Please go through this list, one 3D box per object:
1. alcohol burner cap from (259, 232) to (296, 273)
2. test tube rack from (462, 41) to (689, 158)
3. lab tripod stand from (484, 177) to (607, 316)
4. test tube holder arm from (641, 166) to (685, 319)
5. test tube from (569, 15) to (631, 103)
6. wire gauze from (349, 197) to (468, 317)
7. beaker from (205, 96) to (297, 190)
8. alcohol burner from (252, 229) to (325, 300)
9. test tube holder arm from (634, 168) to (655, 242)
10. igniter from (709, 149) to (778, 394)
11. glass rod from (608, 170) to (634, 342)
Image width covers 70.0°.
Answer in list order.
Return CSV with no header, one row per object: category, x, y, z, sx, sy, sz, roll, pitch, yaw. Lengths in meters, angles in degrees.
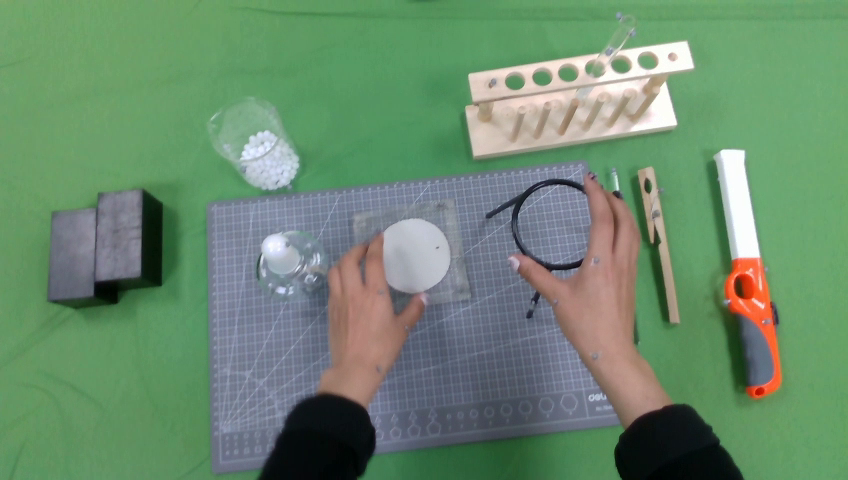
alcohol burner cap,-0.147,0.010,0.600,0.034,0.048,0.033,0,66,-1
test tube rack,0.169,-0.158,0.693,0.242,0.085,0.066,-9,75,-1
lab tripod stand,0.123,-0.002,0.626,0.148,0.132,0.147,-1,76,3
test tube holder arm,0.267,0.001,0.682,0.013,0.015,0.177,-20,71,35
test tube,0.185,-0.188,0.650,0.017,0.151,0.017,1,74,-5
wire gauze,-0.019,0.017,0.689,0.121,0.011,0.124,-9,79,-2
beaker,-0.189,-0.104,0.677,0.084,0.101,0.073,11,75,5
alcohol burner,-0.146,0.021,0.635,0.078,0.120,0.077,-1,74,2
test tube holder arm,0.257,-0.040,0.697,0.010,0.015,0.087,-18,72,36
igniter,0.354,0.029,0.673,0.057,0.025,0.275,1,75,-9
glass rod,0.224,0.015,0.689,0.008,0.008,0.199,-3,79,0
